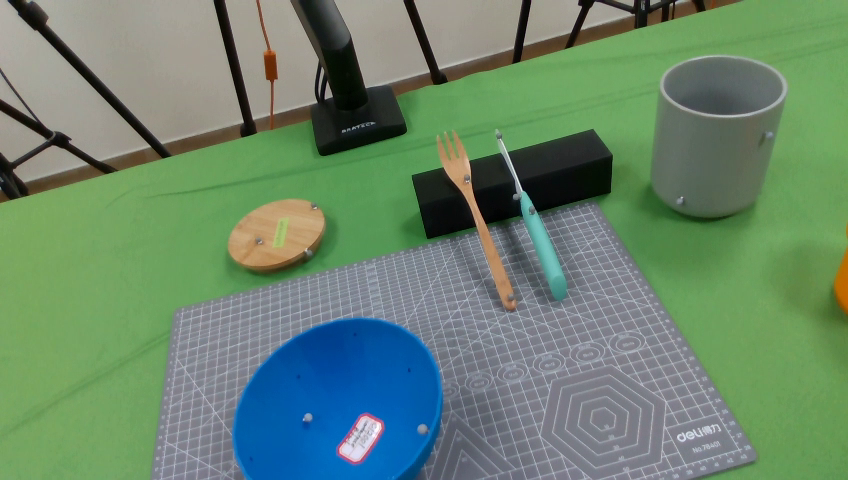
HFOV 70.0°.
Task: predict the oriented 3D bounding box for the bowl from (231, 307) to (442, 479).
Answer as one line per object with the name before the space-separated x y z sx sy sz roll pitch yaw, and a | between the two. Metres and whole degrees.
bowl | -0.056 0.132 0.451 0.151 0.077 0.150 -7 44 7

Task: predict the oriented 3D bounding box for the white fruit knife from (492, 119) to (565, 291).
white fruit knife | 0.097 -0.044 0.593 0.016 0.028 0.205 -15 58 -3

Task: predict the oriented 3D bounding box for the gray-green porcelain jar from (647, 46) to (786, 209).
gray-green porcelain jar | 0.271 -0.102 0.576 0.106 0.128 0.105 -7 45 7

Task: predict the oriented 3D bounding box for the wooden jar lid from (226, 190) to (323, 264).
wooden jar lid | -0.163 -0.014 0.670 0.108 0.021 0.107 -5 45 6

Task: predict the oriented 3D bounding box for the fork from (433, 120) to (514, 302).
fork | 0.048 -0.033 0.591 0.028 0.019 0.205 -15 63 -8

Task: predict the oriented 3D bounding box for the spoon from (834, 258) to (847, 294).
spoon | 0.401 -0.017 0.446 0.022 0.194 0.041 24 39 -27
